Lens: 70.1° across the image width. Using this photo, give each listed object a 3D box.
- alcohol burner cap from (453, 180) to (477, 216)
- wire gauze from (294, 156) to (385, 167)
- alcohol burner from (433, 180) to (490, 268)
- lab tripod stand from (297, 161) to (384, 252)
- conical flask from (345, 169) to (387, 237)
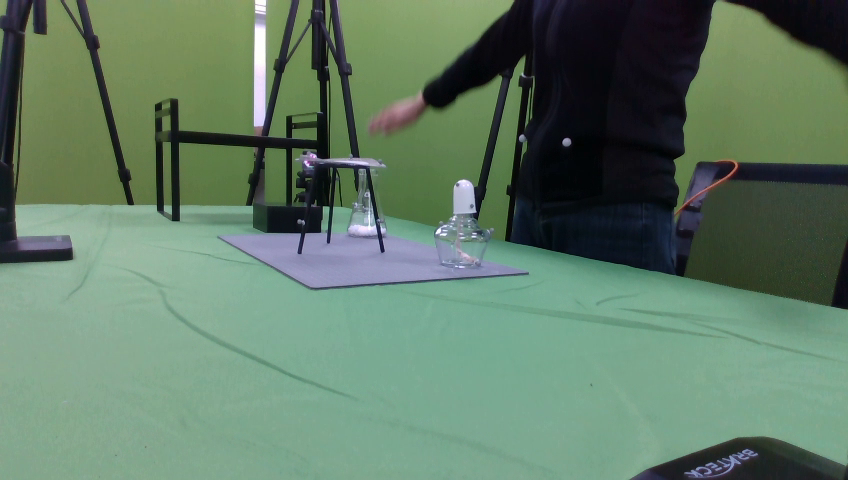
[{"bbox_3d":[0.054,-0.057,0.811,0.034,0.048,0.034,-3,6,1],"label":"alcohol burner cap"},{"bbox_3d":[-0.128,-0.118,0.901,0.125,0.011,0.121,0,8,-14],"label":"wire gauze"},{"bbox_3d":[0.052,-0.021,0.816,0.078,0.119,0.078,4,7,0],"label":"alcohol burner"},{"bbox_3d":[-0.130,-0.051,0.903,0.148,0.131,0.148,3,9,0],"label":"lab tripod stand"},{"bbox_3d":[-0.103,-0.068,1.091,0.075,0.122,0.075,2,7,0],"label":"conical flask"}]
